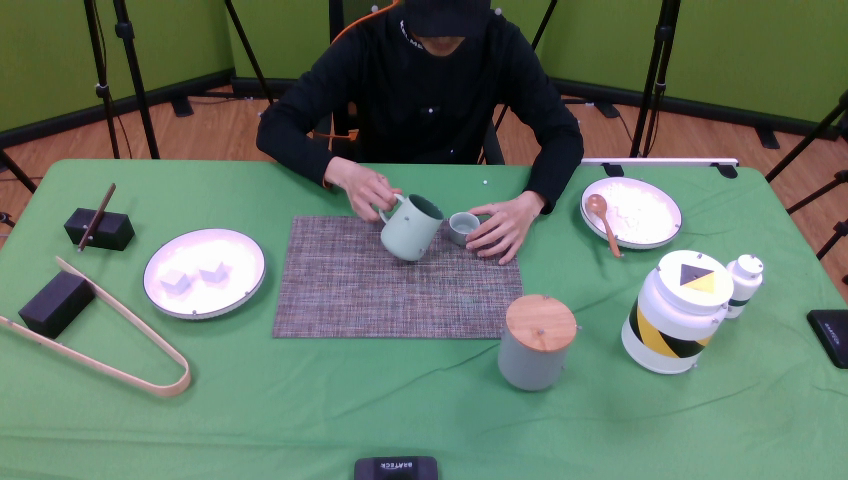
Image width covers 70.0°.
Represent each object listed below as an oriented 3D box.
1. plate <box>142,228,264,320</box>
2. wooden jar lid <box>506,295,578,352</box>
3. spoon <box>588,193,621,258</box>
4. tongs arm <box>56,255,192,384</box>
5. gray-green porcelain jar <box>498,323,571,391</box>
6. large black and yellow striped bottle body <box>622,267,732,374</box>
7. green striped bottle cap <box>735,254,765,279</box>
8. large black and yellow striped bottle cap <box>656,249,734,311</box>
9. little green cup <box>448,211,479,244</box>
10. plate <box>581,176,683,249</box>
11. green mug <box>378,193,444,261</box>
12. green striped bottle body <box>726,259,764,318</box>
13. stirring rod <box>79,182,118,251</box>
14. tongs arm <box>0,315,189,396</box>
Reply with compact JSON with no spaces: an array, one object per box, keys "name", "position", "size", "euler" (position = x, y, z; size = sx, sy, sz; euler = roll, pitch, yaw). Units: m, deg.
[{"name":"plate","position":[-0.394,0.064,1.095],"size":[0.208,0.039,0.206],"euler":[2,46,-2]},{"name":"wooden jar lid","position":[0.179,0.130,0.925],"size":[0.108,0.021,0.107],"euler":[2,43,-2]},{"name":"spoon","position":[0.368,-0.032,1.220],"size":[0.041,0.022,0.192],"euler":[1,38,-1]},{"name":"tongs arm","position":[-0.517,0.126,1.033],"size":[0.386,0.028,0.028],"euler":[30,43,23]},{"name":"gray-green porcelain jar","position":[0.176,0.172,0.971],"size":[0.106,0.127,0.105],"euler":[2,46,-2]},{"name":"large black and yellow striped bottle body","position":[0.415,0.119,0.997],"size":[0.131,0.185,0.130],"euler":[2,46,-2]},{"name":"green striped bottle cap","position":[0.566,0.046,1.051],"size":[0.044,0.020,0.044],"euler":[0,45,0]},{"name":"large black and yellow striped bottle cap","position":[0.419,0.061,0.938],"size":[0.115,0.019,0.114],"euler":[2,47,-2]},{"name":"little green cup","position":[0.079,-0.024,1.204],"size":[0.061,0.039,0.061],"euler":[-1,51,2]},{"name":"plate","position":[0.430,-0.054,1.267],"size":[0.209,0.038,0.208],"euler":[2,46,-2]},{"name":"green mug","position":[-0.034,-0.033,1.139],"size":[0.125,0.105,0.092],"euler":[41,24,17]},{"name":"green striped bottle body","position":[0.563,0.081,1.089],"size":[0.063,0.120,0.063],"euler":[2,46,-2]},{"name":"stirring rod","position":[-0.605,-0.047,1.130],"size":[0.006,0.014,0.175],"euler":[0,47,1]},{"name":"tongs arm","position":[-0.555,0.170,0.981],"size":[0.384,0.026,0.050],"euler":[21,43,14]}]
